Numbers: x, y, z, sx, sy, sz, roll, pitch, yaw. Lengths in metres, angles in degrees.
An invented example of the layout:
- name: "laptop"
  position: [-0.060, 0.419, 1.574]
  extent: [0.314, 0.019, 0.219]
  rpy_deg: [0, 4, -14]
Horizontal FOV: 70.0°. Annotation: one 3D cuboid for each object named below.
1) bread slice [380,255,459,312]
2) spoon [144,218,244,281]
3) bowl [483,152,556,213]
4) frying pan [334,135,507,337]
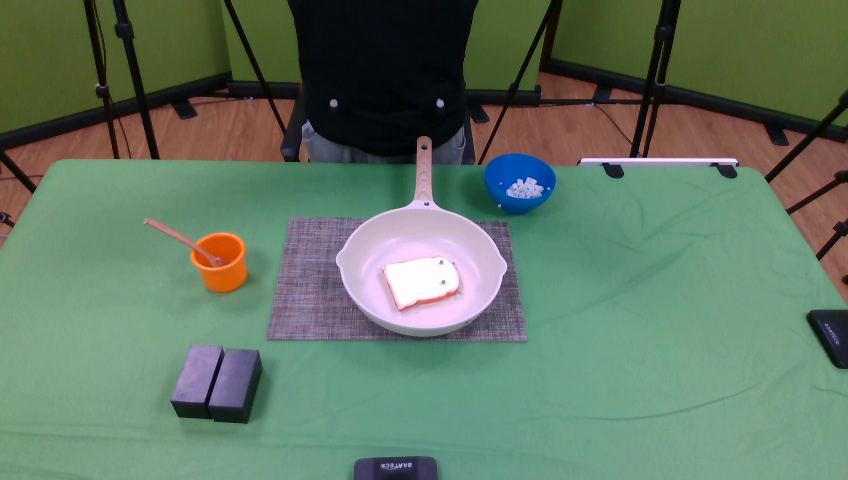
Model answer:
- name: "bread slice"
  position: [-0.005, 0.074, 1.119]
  extent: [0.134, 0.018, 0.106]
  rpy_deg: [-16, 50, -16]
- name: "spoon"
  position: [-0.401, 0.015, 1.064]
  extent: [0.195, 0.021, 0.041]
  rpy_deg: [41, 36, -29]
- name: "bowl"
  position: [0.195, -0.110, 1.280]
  extent: [0.151, 0.077, 0.150]
  rpy_deg: [2, 46, -2]
- name: "frying pan"
  position: [-0.004, -0.026, 1.160]
  extent: [0.307, 0.103, 0.485]
  rpy_deg: [4, 55, -2]
